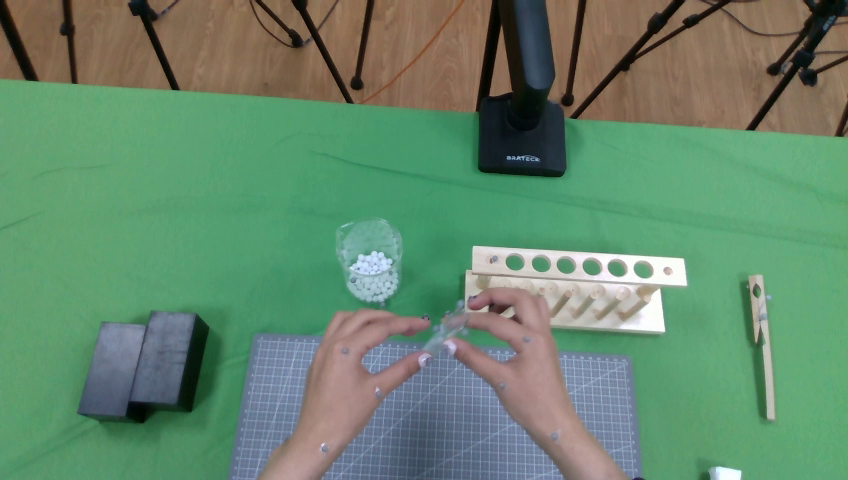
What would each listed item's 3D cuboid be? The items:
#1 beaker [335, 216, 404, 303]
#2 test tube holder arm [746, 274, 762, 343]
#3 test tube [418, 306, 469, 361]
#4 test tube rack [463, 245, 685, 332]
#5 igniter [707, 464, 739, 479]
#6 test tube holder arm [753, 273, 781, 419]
[{"bbox_3d":[-0.065,0.026,0.712,0.083,0.101,0.074,29,67,12],"label":"beaker"},{"bbox_3d":[0.412,0.085,0.755,0.010,0.015,0.087,-10,62,32],"label":"test tube holder arm"},{"bbox_3d":[0.015,0.090,0.559,0.017,0.151,0.017,5,66,-10],"label":"test tube"},{"bbox_3d":[0.172,0.059,0.716,0.242,0.086,0.066,3,65,-1],"label":"test tube rack"},{"bbox_3d":[0.309,0.373,0.613,0.057,0.025,0.274,14,65,-7],"label":"igniter"},{"bbox_3d":[0.414,0.124,0.733,0.013,0.015,0.177,-12,61,31],"label":"test tube holder arm"}]
